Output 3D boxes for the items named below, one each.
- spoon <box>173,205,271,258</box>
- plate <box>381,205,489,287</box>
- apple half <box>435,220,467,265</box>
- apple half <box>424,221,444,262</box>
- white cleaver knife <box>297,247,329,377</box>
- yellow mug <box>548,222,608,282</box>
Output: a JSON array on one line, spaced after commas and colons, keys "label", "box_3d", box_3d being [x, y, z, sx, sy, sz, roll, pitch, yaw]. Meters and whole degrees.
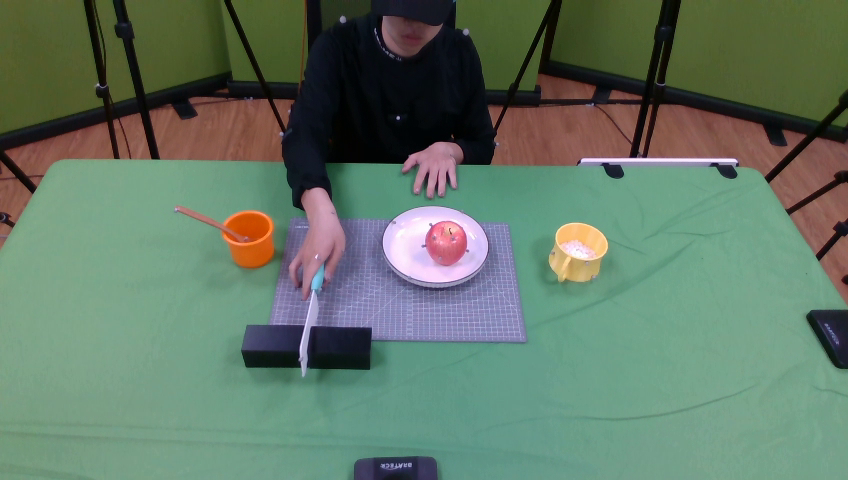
[{"label": "spoon", "box_3d": [-0.362, -0.017, 1.098, 0.021, 0.195, 0.041, -32, 42, 27]}, {"label": "plate", "box_3d": [0.021, 0.015, 1.170, 0.209, 0.038, 0.208, 2, 46, -2]}, {"label": "apple half", "box_3d": [0.054, 0.009, 1.142, 0.053, 0.075, 0.080, 14, 43, 3]}, {"label": "apple half", "box_3d": [0.015, 0.002, 1.144, 0.033, 0.081, 0.081, 14, 46, 2]}, {"label": "white cleaver knife", "box_3d": [-0.192, 0.111, 1.037, 0.021, 0.066, 0.284, 4, 36, -2]}, {"label": "yellow mug", "box_3d": [0.287, 0.031, 1.159, 0.099, 0.064, 0.130, 28, 51, 21]}]
